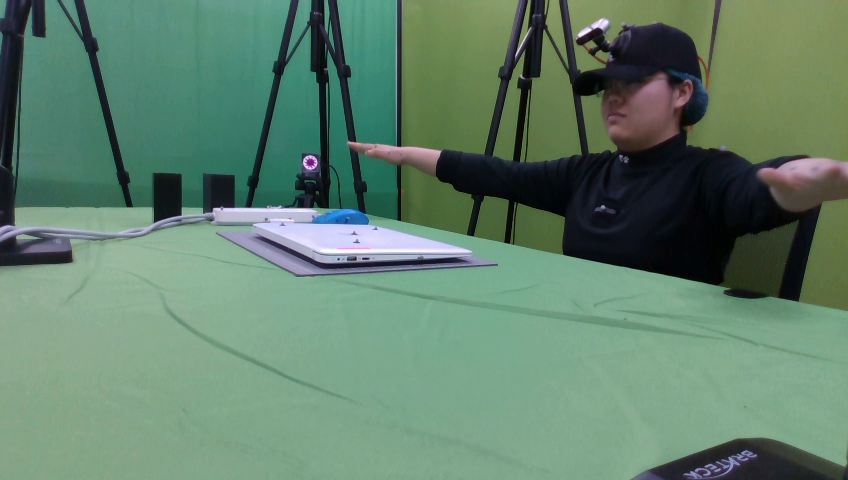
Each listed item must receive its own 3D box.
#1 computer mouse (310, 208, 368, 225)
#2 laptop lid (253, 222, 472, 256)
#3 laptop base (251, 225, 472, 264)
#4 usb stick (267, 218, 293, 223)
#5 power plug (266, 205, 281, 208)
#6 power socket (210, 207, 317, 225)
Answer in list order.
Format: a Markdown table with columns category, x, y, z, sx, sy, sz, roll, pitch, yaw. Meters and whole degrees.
| category | x | y | z | sx | sy | sz | roll | pitch | yaw |
| --- | --- | --- | --- | --- | --- | --- | --- | --- | --- |
| computer mouse | -0.179 | -0.044 | 1.275 | 0.118 | 0.041 | 0.062 | -6 | 13 | -29 |
| laptop lid | -0.113 | -0.005 | 0.955 | 0.243 | 0.013 | 0.355 | 1 | 7 | -29 |
| laptop base | -0.115 | 0.007 | 0.955 | 0.237 | 0.023 | 0.352 | 2 | 6 | -31 |
| usb stick | -0.272 | -0.026 | 1.107 | 0.059 | 0.027 | 0.021 | -4 | 11 | -27 |
| power plug | -0.343 | -0.057 | 1.365 | 0.053 | 0.035 | 0.072 | -21 | -8 | -14 |
| power socket | -0.335 | -0.051 | 1.282 | 0.228 | 0.032 | 0.072 | -1 | 9 | -28 |
